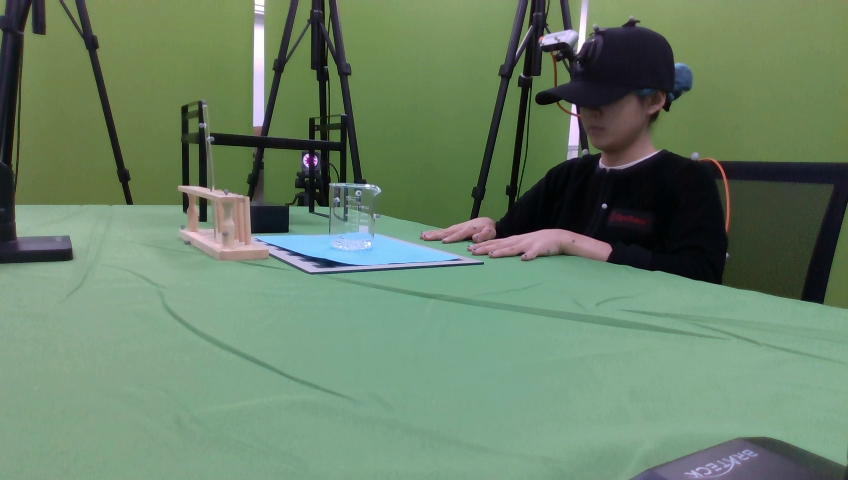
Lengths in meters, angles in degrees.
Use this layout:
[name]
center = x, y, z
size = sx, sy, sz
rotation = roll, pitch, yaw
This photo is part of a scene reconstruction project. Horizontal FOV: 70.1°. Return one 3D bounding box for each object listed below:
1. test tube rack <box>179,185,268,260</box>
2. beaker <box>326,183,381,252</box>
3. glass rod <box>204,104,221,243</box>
[test tube rack]
center = -0.303, -0.031, 0.898
size = 0.067, 0.085, 0.241
rotation = -2, 9, -33
[beaker]
center = -0.108, -0.035, 0.921
size = 0.084, 0.100, 0.074
rotation = 5, 8, 15
[glass rod]
center = -0.298, -0.091, 0.851
size = 0.008, 0.199, 0.008
rotation = -5, 1, 0
